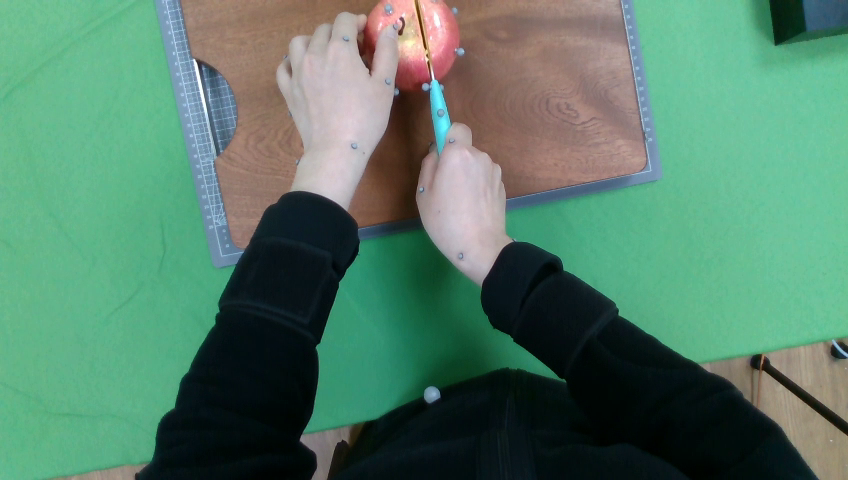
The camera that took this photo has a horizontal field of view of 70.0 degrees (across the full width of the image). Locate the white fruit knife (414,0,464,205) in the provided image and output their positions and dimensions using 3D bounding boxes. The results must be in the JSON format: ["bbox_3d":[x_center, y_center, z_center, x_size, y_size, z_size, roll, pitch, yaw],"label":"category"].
[{"bbox_3d":[0.007,-0.132,0.514,0.016,0.027,0.207,-13,95,-3],"label":"white fruit knife"}]

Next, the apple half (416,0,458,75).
[{"bbox_3d":[0.012,-0.183,0.525,0.033,0.081,0.081,-13,93,1],"label":"apple half"}]

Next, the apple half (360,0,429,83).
[{"bbox_3d":[-0.027,-0.174,0.526,0.053,0.074,0.081,-13,97,5],"label":"apple half"}]
